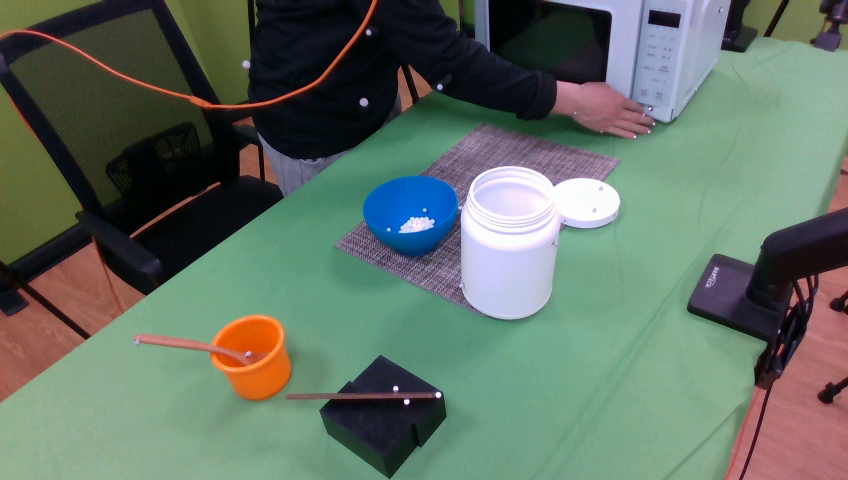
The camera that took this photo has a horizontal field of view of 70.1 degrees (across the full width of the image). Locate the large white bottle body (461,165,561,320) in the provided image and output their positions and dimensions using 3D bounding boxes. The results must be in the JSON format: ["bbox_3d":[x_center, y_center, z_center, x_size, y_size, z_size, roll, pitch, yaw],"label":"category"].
[{"bbox_3d":[0.115,0.004,0.816,0.130,0.185,0.130,-2,43,2],"label":"large white bottle body"}]

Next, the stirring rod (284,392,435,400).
[{"bbox_3d":[-0.075,0.180,0.698,0.176,0.006,0.014,-2,6,7],"label":"stirring rod"}]

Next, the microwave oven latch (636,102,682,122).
[{"bbox_3d":[0.449,-0.251,1.159,0.030,0.029,0.078,-35,47,-27],"label":"microwave oven latch"}]

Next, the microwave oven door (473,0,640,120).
[{"bbox_3d":[0.251,-0.390,1.194,0.353,0.245,0.039,24,49,31],"label":"microwave oven door"}]

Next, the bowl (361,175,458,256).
[{"bbox_3d":[-0.019,-0.028,0.955,0.151,0.077,0.150,-4,40,4],"label":"bowl"}]

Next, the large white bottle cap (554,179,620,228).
[{"bbox_3d":[0.265,-0.062,1.001,0.115,0.018,0.114,-3,41,4],"label":"large white bottle cap"}]

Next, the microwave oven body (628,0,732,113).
[{"bbox_3d":[0.377,-0.463,1.267,0.438,0.261,0.327,21,49,30],"label":"microwave oven body"}]

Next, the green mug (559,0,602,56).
[{"bbox_3d":[0.332,-0.451,1.294,0.092,0.105,0.125,10,47,21],"label":"green mug"}]

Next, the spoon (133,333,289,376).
[{"bbox_3d":[-0.257,0.137,0.747,0.021,0.195,0.041,-47,40,22],"label":"spoon"}]
